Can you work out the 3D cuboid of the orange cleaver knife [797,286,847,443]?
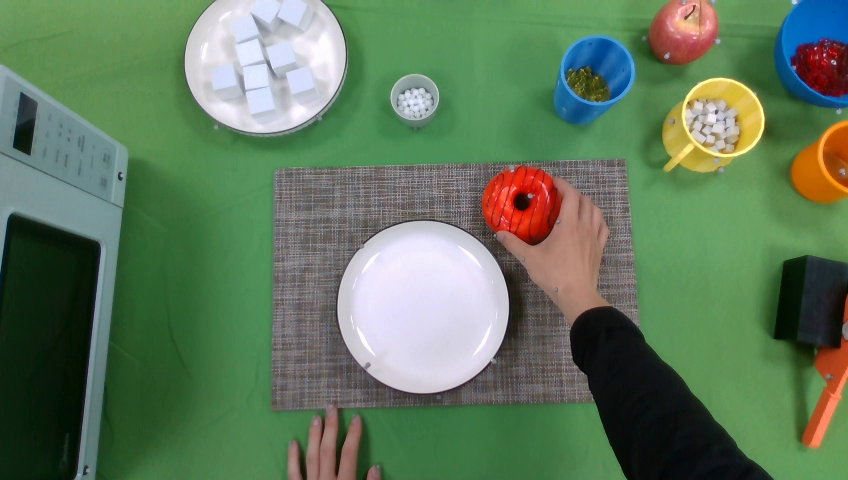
[{"bbox_3d":[0.471,0.134,0.699,0.012,0.077,0.212,13,111,5],"label":"orange cleaver knife"}]

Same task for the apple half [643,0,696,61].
[{"bbox_3d":[0.307,-0.269,0.767,0.053,0.075,0.080,4,84,5],"label":"apple half"}]

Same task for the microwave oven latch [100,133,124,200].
[{"bbox_3d":[-0.389,-0.090,0.743,0.030,0.029,0.079,3,82,1],"label":"microwave oven latch"}]

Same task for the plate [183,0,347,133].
[{"bbox_3d":[-0.202,-0.234,0.783,0.208,0.039,0.207,0,81,0],"label":"plate"}]

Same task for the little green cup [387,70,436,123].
[{"bbox_3d":[-0.015,-0.180,0.773,0.061,0.039,0.061,0,81,1],"label":"little green cup"}]

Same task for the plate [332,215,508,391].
[{"bbox_3d":[-0.004,0.074,0.730,0.209,0.038,0.208,0,81,1],"label":"plate"}]

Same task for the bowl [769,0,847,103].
[{"bbox_3d":[0.497,-0.233,0.758,0.151,0.077,0.151,0,82,1],"label":"bowl"}]

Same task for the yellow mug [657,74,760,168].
[{"bbox_3d":[0.340,-0.136,0.750,0.131,0.064,0.099,-43,83,-5],"label":"yellow mug"}]

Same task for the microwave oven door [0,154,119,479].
[{"bbox_3d":[-0.398,0.110,0.609,0.039,0.244,0.354,1,81,1],"label":"microwave oven door"}]

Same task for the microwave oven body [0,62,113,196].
[{"bbox_3d":[-0.543,0.065,0.622,0.326,0.261,0.440,1,82,0],"label":"microwave oven body"}]

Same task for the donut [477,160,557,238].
[{"bbox_3d":[0.115,-0.050,0.746,0.099,0.048,0.099,0,83,1],"label":"donut"}]

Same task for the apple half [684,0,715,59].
[{"bbox_3d":[0.346,-0.267,0.765,0.033,0.081,0.081,4,81,5],"label":"apple half"}]

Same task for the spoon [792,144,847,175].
[{"bbox_3d":[0.520,-0.072,0.697,0.041,0.191,0.022,-44,127,-6],"label":"spoon"}]

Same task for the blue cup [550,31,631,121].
[{"bbox_3d":[0.194,-0.191,0.742,0.092,0.100,0.092,0,82,0],"label":"blue cup"}]
